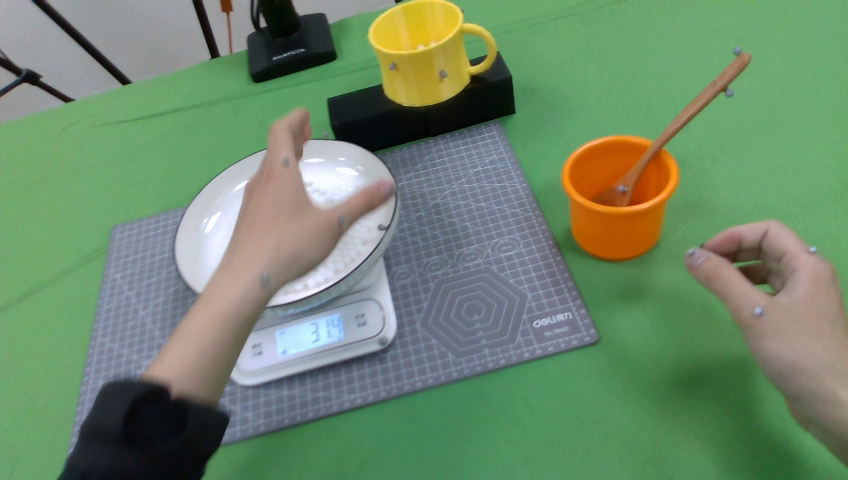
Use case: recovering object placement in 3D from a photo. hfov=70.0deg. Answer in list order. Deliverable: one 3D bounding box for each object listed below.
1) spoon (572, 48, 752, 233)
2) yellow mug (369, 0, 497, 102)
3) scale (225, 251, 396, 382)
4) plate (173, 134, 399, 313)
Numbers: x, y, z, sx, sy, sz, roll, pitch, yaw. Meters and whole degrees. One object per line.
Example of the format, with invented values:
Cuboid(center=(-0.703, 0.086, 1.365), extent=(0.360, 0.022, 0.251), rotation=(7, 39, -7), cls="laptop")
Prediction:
Cuboid(center=(0.193, -0.077, 0.503), extent=(0.022, 0.194, 0.041), rotation=(17, 36, -30), cls="spoon")
Cuboid(center=(0.013, -0.205, 0.642), extent=(0.130, 0.064, 0.099), rotation=(1, 52, 14), cls="yellow mug")
Cuboid(center=(-0.111, 0.025, 0.565), extent=(0.149, 0.032, 0.198), rotation=(-16, 49, 1), cls="scale")
Cuboid(center=(-0.123, -0.016, 0.558), extent=(0.209, 0.038, 0.207), rotation=(-6, 50, 8), cls="plate")
